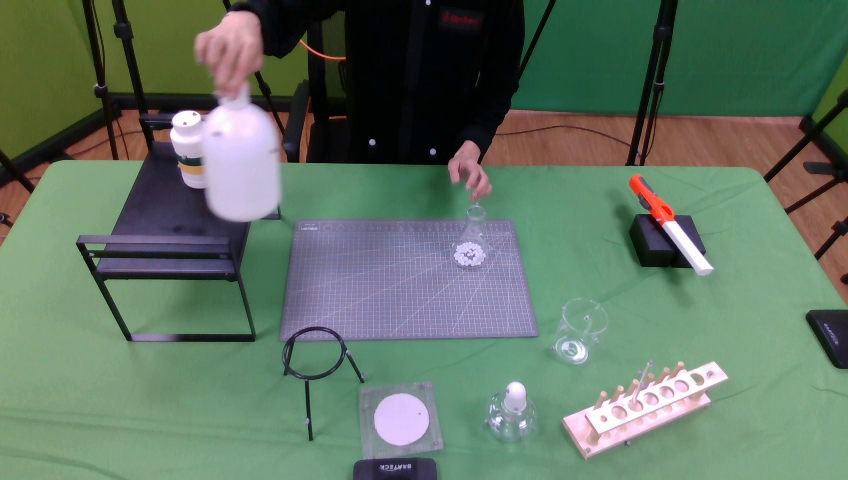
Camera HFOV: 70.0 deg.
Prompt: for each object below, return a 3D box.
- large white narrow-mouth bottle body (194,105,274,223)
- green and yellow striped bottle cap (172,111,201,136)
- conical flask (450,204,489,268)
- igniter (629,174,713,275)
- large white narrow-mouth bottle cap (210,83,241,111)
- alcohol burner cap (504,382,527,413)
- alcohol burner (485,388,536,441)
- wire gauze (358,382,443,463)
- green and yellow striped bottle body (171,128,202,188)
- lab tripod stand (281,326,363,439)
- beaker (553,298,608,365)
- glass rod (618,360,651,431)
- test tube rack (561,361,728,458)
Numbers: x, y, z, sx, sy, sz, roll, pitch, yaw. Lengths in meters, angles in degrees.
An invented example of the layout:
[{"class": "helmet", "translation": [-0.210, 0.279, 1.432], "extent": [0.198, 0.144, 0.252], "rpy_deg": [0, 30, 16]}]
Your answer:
[{"class": "large white narrow-mouth bottle body", "translation": [-0.269, -0.125, 0.858], "extent": [0.102, 0.195, 0.101], "rpy_deg": [4, 42, -4]}, {"class": "green and yellow striped bottle cap", "translation": [-0.374, -0.185, 0.957], "extent": [0.045, 0.020, 0.045], "rpy_deg": [3, 46, -3]}, {"class": "conical flask", "translation": [0.091, -0.010, 1.141], "extent": [0.075, 0.122, 0.075], "rpy_deg": [2, 46, -2]}, {"class": "igniter", "translation": [0.481, -0.040, 1.202], "extent": [0.057, 0.025, 0.274], "rpy_deg": [-2, 46, -21]}, {"class": "large white narrow-mouth bottle cap", "translation": [-0.262, -0.188, 0.799], "extent": [0.038, 0.024, 0.037], "rpy_deg": [4, 42, -4]}, {"class": "alcohol burner cap", "translation": [0.133, 0.225, 0.877], "extent": [0.034, 0.048, 0.033], "rpy_deg": [-4, 47, 5]}, {"class": "alcohol burner", "translation": [0.131, 0.249, 0.904], "extent": [0.078, 0.120, 0.077], "rpy_deg": [1, 48, -1]}, {"class": "wire gauze", "translation": [-0.039, 0.276, 0.937], "extent": [0.121, 0.011, 0.124], "rpy_deg": [-4, 47, -7]}, {"class": "green and yellow striped bottle body", "translation": [-0.375, -0.149, 0.995], "extent": [0.063, 0.120, 0.063], "rpy_deg": [2, 46, -2]}, {"class": "lab tripod stand", "translation": [-0.166, 0.203, 0.913], "extent": [0.148, 0.132, 0.147], "rpy_deg": [1, 47, -1]}, {"class": "beaker", "translation": [0.260, 0.154, 1.015], "extent": [0.073, 0.101, 0.084], "rpy_deg": [37, 54, 27]}, {"class": "glass rod", "translation": [0.298, 0.227, 0.865], "extent": [0.008, 0.201, 0.008], "rpy_deg": [-1, 48, 2]}, {"class": "test tube rack", "translation": [0.341, 0.248, 0.940], "extent": [0.243, 0.085, 0.066], "rpy_deg": [-15, 49, -18]}]
